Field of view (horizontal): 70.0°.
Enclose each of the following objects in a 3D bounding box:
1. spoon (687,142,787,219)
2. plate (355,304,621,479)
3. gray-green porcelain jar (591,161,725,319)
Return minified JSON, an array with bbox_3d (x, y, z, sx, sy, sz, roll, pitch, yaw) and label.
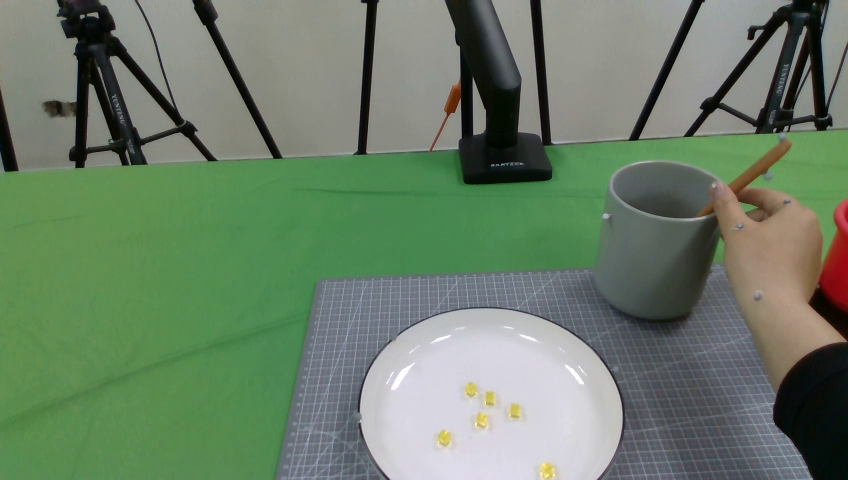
[{"bbox_3d":[0.243,-0.016,0.543,0.021,0.194,0.041,30,41,-1],"label":"spoon"},{"bbox_3d":[0.050,0.134,0.490,0.207,0.039,0.205,-2,36,1],"label":"plate"},{"bbox_3d":[0.218,0.004,0.583,0.106,0.127,0.105,-2,37,2],"label":"gray-green porcelain jar"}]
